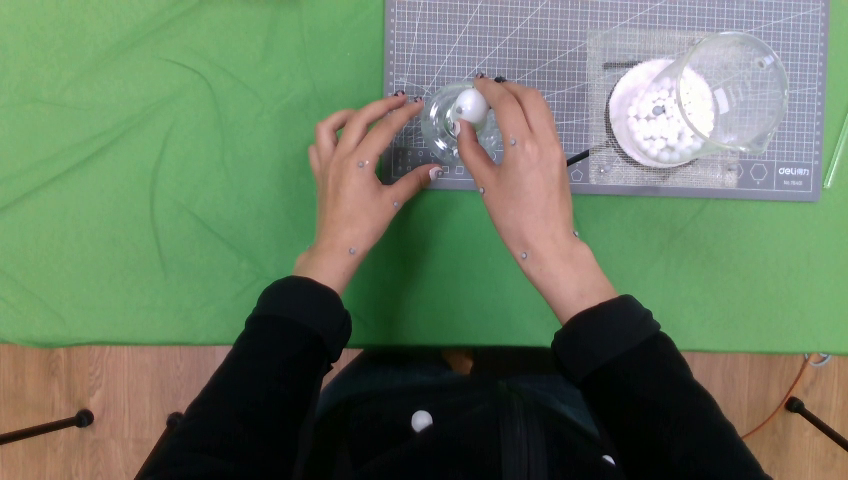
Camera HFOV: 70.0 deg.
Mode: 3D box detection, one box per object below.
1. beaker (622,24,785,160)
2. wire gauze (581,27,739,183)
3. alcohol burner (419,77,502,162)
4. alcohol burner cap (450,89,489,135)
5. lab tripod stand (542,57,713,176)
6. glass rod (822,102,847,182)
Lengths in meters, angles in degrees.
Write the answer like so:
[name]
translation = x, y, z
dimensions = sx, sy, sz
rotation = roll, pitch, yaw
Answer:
[beaker]
translation = 0.191, -0.095, 0.429
dimensions = 0.074, 0.100, 0.084
rotation = -31, 92, -2
[wire gauze]
translation = 0.186, -0.107, 0.476
dimensions = 0.125, 0.011, 0.121
rotation = 1, 90, -1
[alcohol burner]
translation = 0.035, -0.111, 0.542
dimensions = 0.078, 0.119, 0.078
rotation = 0, 90, -4
[alcohol burner cap]
translation = 0.039, -0.107, 0.498
dimensions = 0.034, 0.048, 0.034
rotation = 0, 90, 0
[lab tripod stand]
translation = 0.182, -0.105, 0.542
dimensions = 0.148, 0.131, 0.148
rotation = 0, 91, -1
[glass rod]
translation = 0.443, -0.155, 0.621
dimensions = 0.008, 0.008, 0.199
rotation = 18, 91, -4
